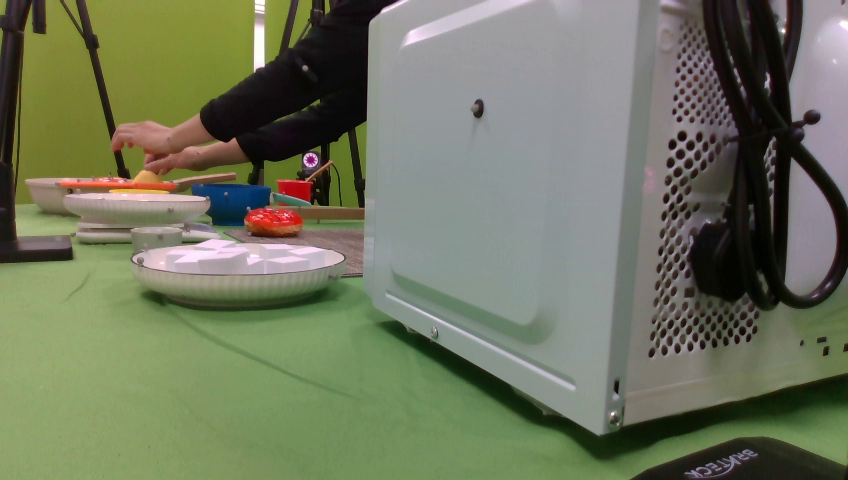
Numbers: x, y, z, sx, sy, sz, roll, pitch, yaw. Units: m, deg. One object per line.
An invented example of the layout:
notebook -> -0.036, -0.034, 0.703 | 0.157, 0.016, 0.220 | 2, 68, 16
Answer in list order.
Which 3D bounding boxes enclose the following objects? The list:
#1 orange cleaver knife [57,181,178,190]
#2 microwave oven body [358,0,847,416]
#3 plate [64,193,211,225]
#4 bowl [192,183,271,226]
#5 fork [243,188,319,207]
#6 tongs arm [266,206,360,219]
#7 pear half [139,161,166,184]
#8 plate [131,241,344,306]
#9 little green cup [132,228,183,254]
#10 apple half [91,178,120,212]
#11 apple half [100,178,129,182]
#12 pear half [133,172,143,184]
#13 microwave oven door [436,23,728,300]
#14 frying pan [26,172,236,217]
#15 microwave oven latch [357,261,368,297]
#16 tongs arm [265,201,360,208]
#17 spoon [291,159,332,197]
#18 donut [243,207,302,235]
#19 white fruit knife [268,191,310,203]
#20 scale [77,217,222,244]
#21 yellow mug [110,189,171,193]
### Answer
orange cleaver knife -> -0.600, -0.109, 1.189 | 0.212, 0.012, 0.077 | -1, 11, -26
microwave oven body -> 0.211, -0.047, 0.475 | 0.444, 0.260, 0.324 | -1, 7, -28
plate -> -0.446, -0.051, 0.952 | 0.209, 0.038, 0.209 | 2, 7, 0
bowl -> -0.382, -0.070, 1.202 | 0.151, 0.077, 0.151 | 3, 7, 0
fork -> -0.356, -0.105, 1.526 | 0.208, 0.018, 0.028 | 16, -5, -41
tongs arm -> -0.173, -0.062, 1.361 | 0.387, 0.026, 0.050 | -1, 6, -31
pear half -> -0.602, -0.122, 1.353 | 0.056, 0.110, 0.076 | 2, 11, -7
plate -> -0.187, 0.033, 0.625 | 0.208, 0.039, 0.207 | 2, 8, 0
little green cup -> -0.342, 0.006, 0.779 | 0.061, 0.038, 0.061 | 2, 8, 0
apple half -> -0.676, -0.096, 1.271 | 0.033, 0.081, 0.081 | 7, 8, 10
apple half -> -0.638, -0.092, 1.265 | 0.053, 0.074, 0.081 | 6, 4, 9
pear half -> -0.637, -0.112, 1.351 | 0.031, 0.088, 0.070 | 3, 12, -10
microwave oven door -> 0.180, -0.073, 0.621 | 0.358, 0.243, 0.039 | -2, 9, -29
frying pan -> -0.624, -0.118, 1.387 | 0.305, 0.102, 0.490 | 8, 17, 32
microwave oven latch -> -0.019, 0.033, 0.531 | 0.079, 0.029, 0.030 | -1, 7, -27
tongs arm -> -0.208, -0.073, 1.438 | 0.389, 0.028, 0.028 | 2, 2, -16
spoon -> -0.316, -0.158, 1.640 | 0.194, 0.022, 0.041 | -50, 32, -20
donut -> -0.261, -0.032, 1.043 | 0.099, 0.048, 0.099 | 4, 9, 0
white fruit knife -> -0.364, -0.105, 1.464 | 0.208, 0.027, 0.016 | 15, 0, -34
scale -> -0.434, -0.018, 0.963 | 0.202, 0.031, 0.148 | -1, 8, -27
yellow mug -> -0.519, -0.055, 1.080 | 0.099, 0.064, 0.131 | 7, 10, 27
